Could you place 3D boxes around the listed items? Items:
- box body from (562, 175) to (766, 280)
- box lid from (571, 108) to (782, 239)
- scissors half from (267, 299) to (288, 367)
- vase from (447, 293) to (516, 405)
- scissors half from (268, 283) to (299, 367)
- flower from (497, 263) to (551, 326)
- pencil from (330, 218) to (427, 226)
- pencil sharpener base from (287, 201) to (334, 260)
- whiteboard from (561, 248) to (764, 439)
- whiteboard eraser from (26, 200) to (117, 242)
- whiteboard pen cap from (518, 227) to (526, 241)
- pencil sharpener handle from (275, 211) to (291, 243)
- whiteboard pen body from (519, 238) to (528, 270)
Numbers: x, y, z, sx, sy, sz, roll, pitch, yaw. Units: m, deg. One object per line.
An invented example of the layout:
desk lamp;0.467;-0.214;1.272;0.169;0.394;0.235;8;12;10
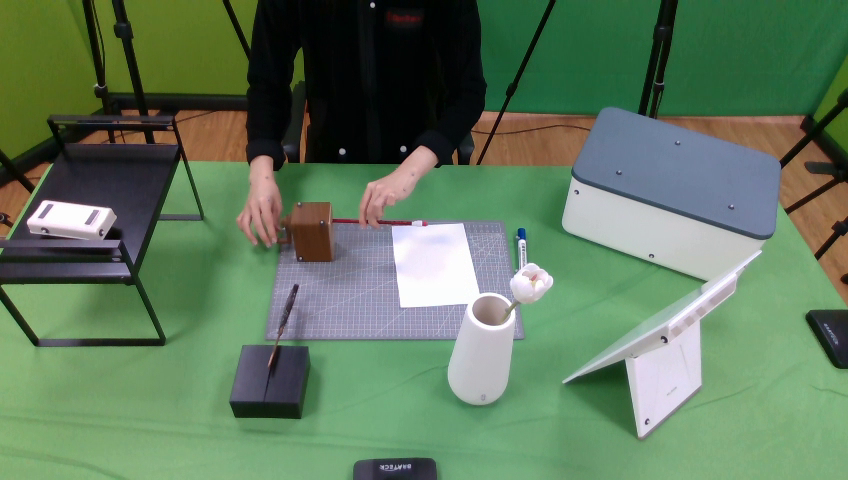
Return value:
box body;0.486;-0.088;1.222;0.363;0.161;0.253;20;48;15
box lid;0.491;-0.139;1.168;0.370;0.015;0.262;21;49;15
scissors half;-0.239;0.150;0.997;0.013;0.040;0.174;24;24;-13
vase;0.091;0.169;0.921;0.098;0.201;0.097;3;47;-3
scissors half;-0.230;0.135;0.986;0.013;0.040;0.174;19;43;-11
flower;0.102;0.121;0.852;0.044;0.363;0.038;-2;64;-10
pencil;-0.091;-0.034;1.122;0.194;0.012;0.012;2;46;-3
pencil sharpener base;-0.211;-0.016;1.133;0.077;0.107;0.061;-1;47;-4
whiteboard;0.386;0.176;0.905;0.217;0.306;0.143;-26;72;-27
whiteboard eraser;-0.532;-0.026;0.919;0.113;0.042;0.055;7;45;3
whiteboard pen cap;0.197;-0.009;1.220;0.018;0.018;0.033;5;50;1
pencil sharpener handle;-0.262;-0.022;1.118;0.031;0.068;0.036;-1;37;-4
whiteboard pen body;0.193;0.035;1.181;0.017;0.017;0.140;6;48;1
